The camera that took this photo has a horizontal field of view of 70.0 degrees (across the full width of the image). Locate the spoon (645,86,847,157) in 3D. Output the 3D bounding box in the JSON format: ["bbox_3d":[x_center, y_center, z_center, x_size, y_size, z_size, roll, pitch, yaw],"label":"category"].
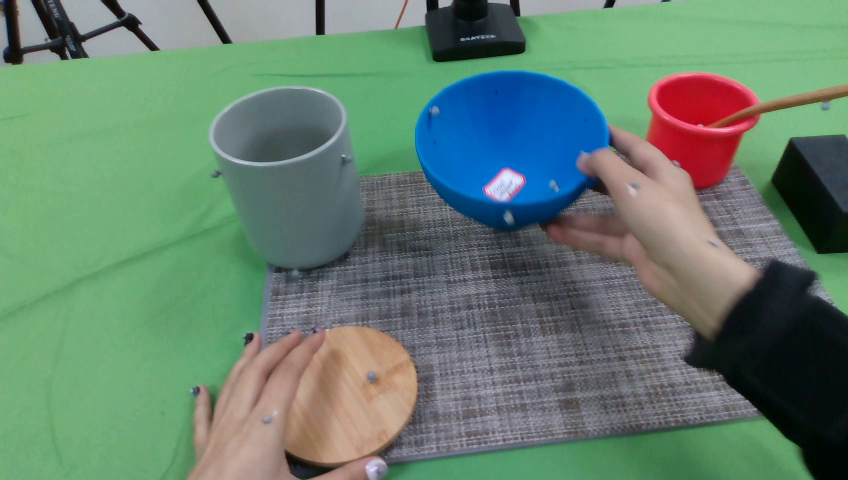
[{"bbox_3d":[0.279,-0.104,0.535,0.041,0.193,0.022,-40,101,-28],"label":"spoon"}]

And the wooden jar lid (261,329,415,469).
[{"bbox_3d":[-0.060,0.113,0.432,0.108,0.021,0.107,-2,45,2],"label":"wooden jar lid"}]

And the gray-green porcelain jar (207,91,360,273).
[{"bbox_3d":[-0.111,-0.043,0.511,0.106,0.128,0.105,-2,46,2],"label":"gray-green porcelain jar"}]

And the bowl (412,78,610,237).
[{"bbox_3d":[0.068,-0.055,0.495,0.151,0.077,0.150,-2,52,3],"label":"bowl"}]
